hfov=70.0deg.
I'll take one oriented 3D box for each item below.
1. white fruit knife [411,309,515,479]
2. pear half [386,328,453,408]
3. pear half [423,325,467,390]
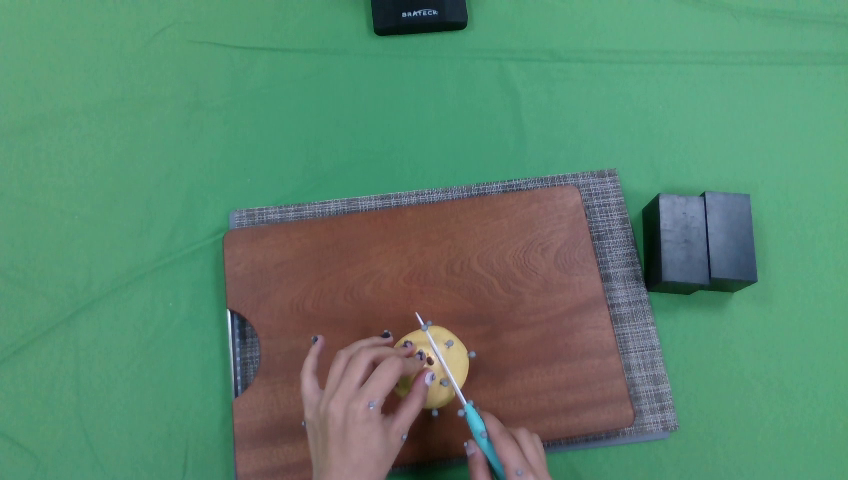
[{"bbox_3d":[0.037,0.153,0.546,0.016,0.027,0.207,-29,92,-12],"label":"white fruit knife"},{"bbox_3d":[-0.008,0.123,0.570,0.056,0.110,0.076,-31,72,-9],"label":"pear half"},{"bbox_3d":[0.023,0.109,0.586,0.031,0.088,0.070,-32,71,-13],"label":"pear half"}]
